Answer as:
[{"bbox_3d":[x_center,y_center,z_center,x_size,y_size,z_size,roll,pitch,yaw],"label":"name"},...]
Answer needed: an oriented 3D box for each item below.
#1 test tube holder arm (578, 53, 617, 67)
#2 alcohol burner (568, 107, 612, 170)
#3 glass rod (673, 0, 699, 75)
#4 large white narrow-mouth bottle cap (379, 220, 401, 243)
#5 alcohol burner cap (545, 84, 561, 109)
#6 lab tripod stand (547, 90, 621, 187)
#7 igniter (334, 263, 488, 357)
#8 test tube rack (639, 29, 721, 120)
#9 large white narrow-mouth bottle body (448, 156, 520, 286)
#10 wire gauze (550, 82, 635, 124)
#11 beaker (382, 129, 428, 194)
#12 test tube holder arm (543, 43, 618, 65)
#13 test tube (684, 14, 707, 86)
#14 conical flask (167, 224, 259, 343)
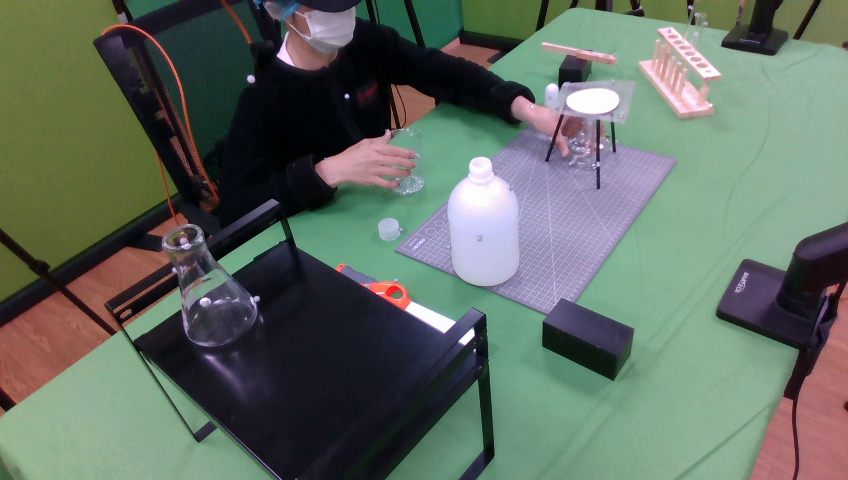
[{"bbox_3d":[0.376,-0.393,1.314,0.087,0.015,0.010,26,51,32],"label":"test tube holder arm"},{"bbox_3d":[0.297,-0.186,1.078,0.078,0.119,0.077,-5,43,5],"label":"alcohol burner"},{"bbox_3d":[0.541,-0.427,1.246,0.008,0.200,0.008,0,48,1],"label":"glass rod"},{"bbox_3d":[-0.057,-0.015,1.011,0.038,0.024,0.037,-4,40,4],"label":"large white narrow-mouth bottle cap"},{"bbox_3d":[0.274,-0.308,1.285,0.034,0.048,0.033,-5,42,5],"label":"alcohol burner cap"},{"bbox_3d":[0.289,-0.184,1.062,0.148,0.132,0.147,-6,41,6],"label":"lab tripod stand"},{"bbox_3d":[-0.030,0.095,0.872,0.274,0.025,0.057,23,60,31],"label":"igniter"},{"bbox_3d":[0.527,-0.351,1.262,0.067,0.085,0.241,-8,40,1],"label":"test tube rack"},{"bbox_3d":[0.086,-0.032,0.869,0.102,0.195,0.101,-4,40,4],"label":"large white narrow-mouth bottle body"},{"bbox_3d":[0.285,-0.236,1.020,0.124,0.011,0.121,10,44,22],"label":"wire gauze"},{"bbox_3d":[-0.030,-0.142,1.096,0.073,0.100,0.084,13,43,22],"label":"beaker"},{"bbox_3d":[0.345,-0.413,1.341,0.177,0.015,0.013,25,50,32],"label":"test tube holder arm"},{"bbox_3d":[0.541,-0.379,1.216,0.017,0.151,0.017,-2,44,2],"label":"test tube"},{"bbox_3d":[-0.220,0.041,0.613,0.075,0.122,0.075,-5,40,4],"label":"conical flask"}]
